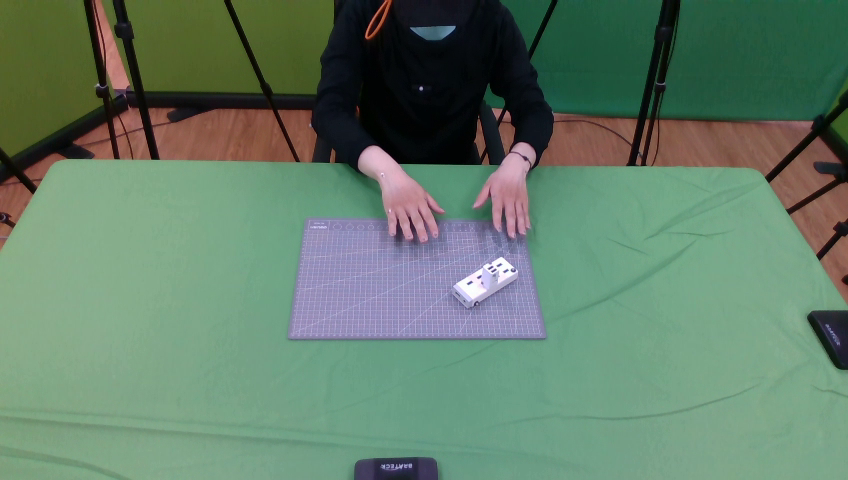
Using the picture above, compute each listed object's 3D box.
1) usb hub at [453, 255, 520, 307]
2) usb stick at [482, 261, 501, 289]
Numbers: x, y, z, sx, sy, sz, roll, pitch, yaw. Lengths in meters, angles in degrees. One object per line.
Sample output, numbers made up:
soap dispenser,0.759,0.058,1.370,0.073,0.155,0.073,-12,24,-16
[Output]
usb hub,0.117,0.076,1.122,0.125,0.025,0.049,-28,55,-26
usb stick,0.120,0.068,1.090,0.021,0.059,0.027,-30,57,-28
